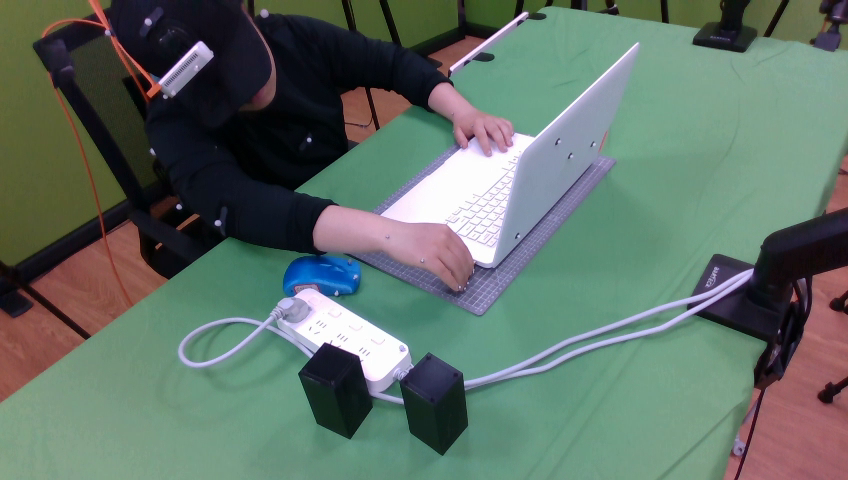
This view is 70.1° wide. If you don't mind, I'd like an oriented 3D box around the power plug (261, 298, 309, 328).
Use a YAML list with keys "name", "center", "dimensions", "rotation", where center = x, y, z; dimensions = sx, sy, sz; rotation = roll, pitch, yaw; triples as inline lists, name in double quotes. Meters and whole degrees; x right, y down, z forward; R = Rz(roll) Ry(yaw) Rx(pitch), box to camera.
- name: "power plug"
  center: [-0.193, 0.108, 0.831]
  dimensions: [0.073, 0.053, 0.035]
  rotation: [-32, 44, -26]

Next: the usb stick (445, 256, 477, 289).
- name: "usb stick"
  center: [0.057, 0.043, 0.892]
  dimensions: [0.021, 0.027, 0.059]
  rotation: [26, 50, 31]

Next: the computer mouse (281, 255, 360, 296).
- name: "computer mouse"
  center: [-0.156, 0.053, 0.917]
  dimensions: [0.117, 0.041, 0.062]
  rotation: [1, 37, 1]

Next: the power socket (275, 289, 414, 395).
- name: "power socket"
  center: [-0.115, 0.133, 0.820]
  dimensions: [0.225, 0.033, 0.072]
  rotation: [25, 49, 32]

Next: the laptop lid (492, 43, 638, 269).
- name: "laptop lid"
  center: [0.216, -0.129, 0.911]
  dimensions: [0.013, 0.242, 0.358]
  rotation: [32, 51, 21]

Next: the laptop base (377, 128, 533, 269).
- name: "laptop base"
  center: [0.115, -0.088, 1.059]
  dimensions: [0.233, 0.023, 0.355]
  rotation: [20, 47, 33]
